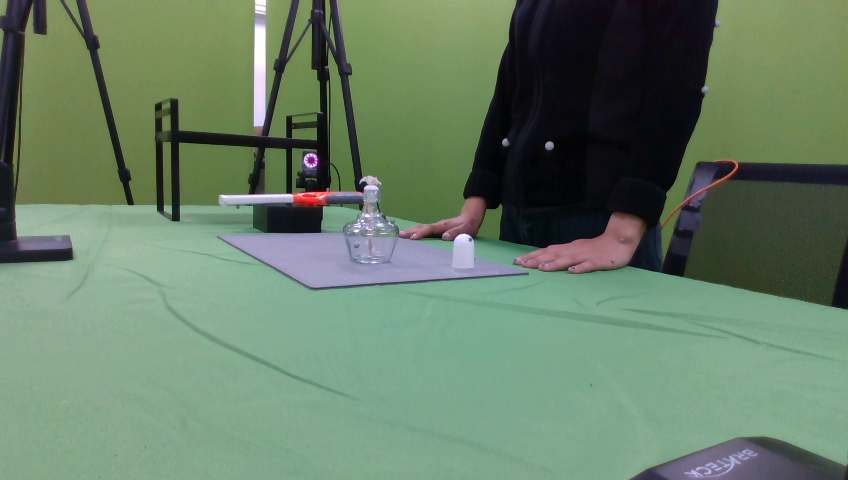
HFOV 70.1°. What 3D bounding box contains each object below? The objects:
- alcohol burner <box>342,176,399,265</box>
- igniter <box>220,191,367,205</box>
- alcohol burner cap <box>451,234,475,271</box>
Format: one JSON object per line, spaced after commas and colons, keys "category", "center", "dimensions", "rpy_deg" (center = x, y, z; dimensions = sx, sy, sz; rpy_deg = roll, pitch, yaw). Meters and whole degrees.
{"category": "alcohol burner", "center": [-0.073, -0.027, 0.818], "dimensions": [0.078, 0.119, 0.078], "rpy_deg": [1, 6, 0]}
{"category": "igniter", "center": [-0.243, -0.079, 1.152], "dimensions": [0.278, 0.025, 0.057], "rpy_deg": [-3, 12, -26]}
{"category": "alcohol burner cap", "center": [0.052, 0.016, 0.808], "dimensions": [0.034, 0.048, 0.034], "rpy_deg": [3, 9, 0]}
